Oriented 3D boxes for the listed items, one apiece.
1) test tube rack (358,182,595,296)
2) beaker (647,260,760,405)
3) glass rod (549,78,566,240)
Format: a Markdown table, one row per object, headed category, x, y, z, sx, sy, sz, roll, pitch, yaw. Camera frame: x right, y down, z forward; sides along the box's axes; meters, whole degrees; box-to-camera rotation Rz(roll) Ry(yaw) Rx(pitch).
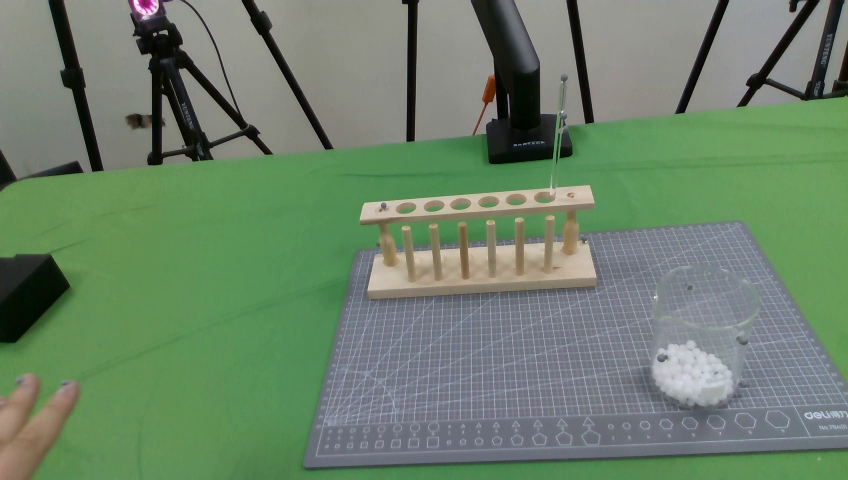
| category | x | y | z | sx | sy | sz | roll | pitch | yaw |
| --- | --- | --- | --- | --- | --- | --- | --- | --- | --- |
| test tube rack | 0.055 | 0.000 | 0.645 | 0.242 | 0.086 | 0.066 | -4 | 37 | 7 |
| beaker | 0.219 | 0.079 | 0.491 | 0.084 | 0.101 | 0.073 | -16 | 36 | -7 |
| glass rod | 0.132 | -0.066 | 0.606 | 0.008 | 0.201 | 0.008 | -3 | 38 | 2 |
